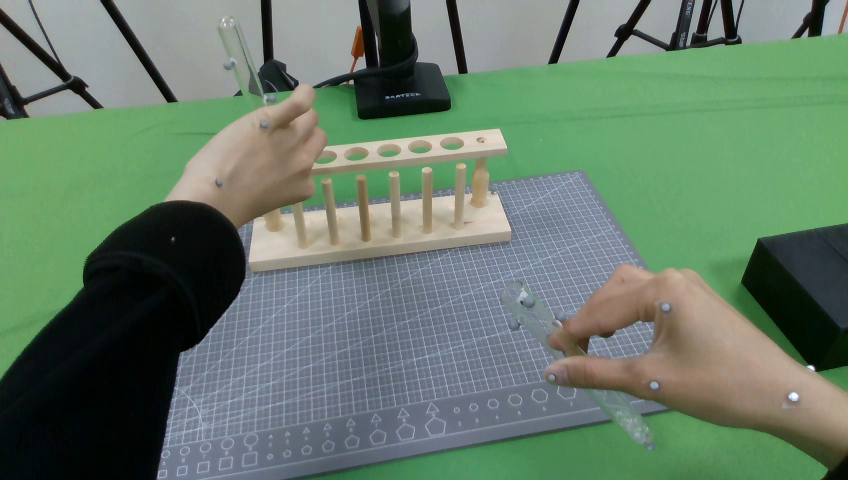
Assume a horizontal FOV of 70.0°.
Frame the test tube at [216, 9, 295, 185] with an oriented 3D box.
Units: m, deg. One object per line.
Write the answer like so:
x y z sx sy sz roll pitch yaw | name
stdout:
-0.126 -0.103 0.462 0.017 0.152 0.017 -5 46 5 | test tube

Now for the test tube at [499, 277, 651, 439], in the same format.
0.092 0.073 0.352 0.017 0.151 0.017 -34 27 20 | test tube

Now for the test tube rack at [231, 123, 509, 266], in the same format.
-0.045 -0.043 0.559 0.242 0.086 0.066 -7 42 -5 | test tube rack
